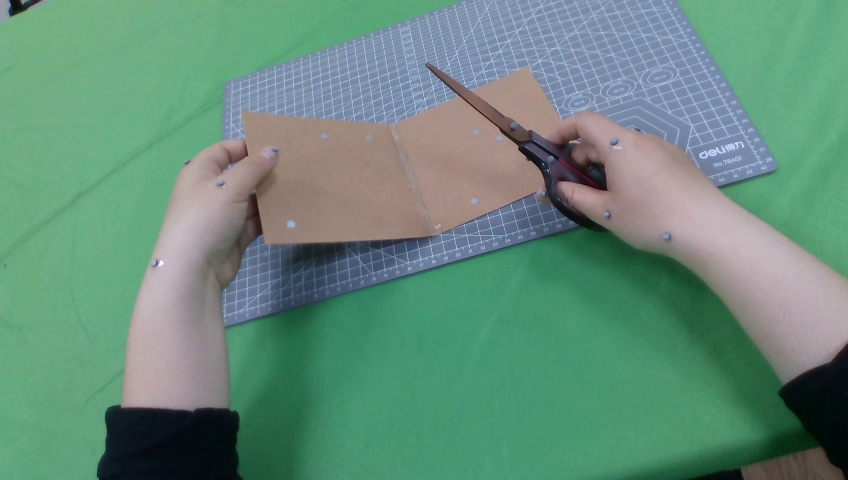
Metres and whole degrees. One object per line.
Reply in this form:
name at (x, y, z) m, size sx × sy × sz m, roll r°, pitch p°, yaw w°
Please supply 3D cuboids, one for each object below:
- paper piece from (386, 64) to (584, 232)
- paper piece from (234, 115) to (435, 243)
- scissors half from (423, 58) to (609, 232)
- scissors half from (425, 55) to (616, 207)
paper piece at (0.047, -0.084, 0.515) m, size 0.135 × 0.004 × 0.134 m, roll -23°, pitch 56°, yaw 3°
paper piece at (-0.074, -0.054, 0.490) m, size 0.139 × 0.009 × 0.134 m, roll -3°, pitch 50°, yaw -25°
scissors half at (0.064, -0.067, 0.426) m, size 0.175 × 0.013 × 0.040 m, roll 44°, pitch 44°, yaw -3°
scissors half at (0.072, -0.080, 0.439) m, size 0.176 × 0.013 × 0.040 m, roll 33°, pitch 51°, yaw -14°
